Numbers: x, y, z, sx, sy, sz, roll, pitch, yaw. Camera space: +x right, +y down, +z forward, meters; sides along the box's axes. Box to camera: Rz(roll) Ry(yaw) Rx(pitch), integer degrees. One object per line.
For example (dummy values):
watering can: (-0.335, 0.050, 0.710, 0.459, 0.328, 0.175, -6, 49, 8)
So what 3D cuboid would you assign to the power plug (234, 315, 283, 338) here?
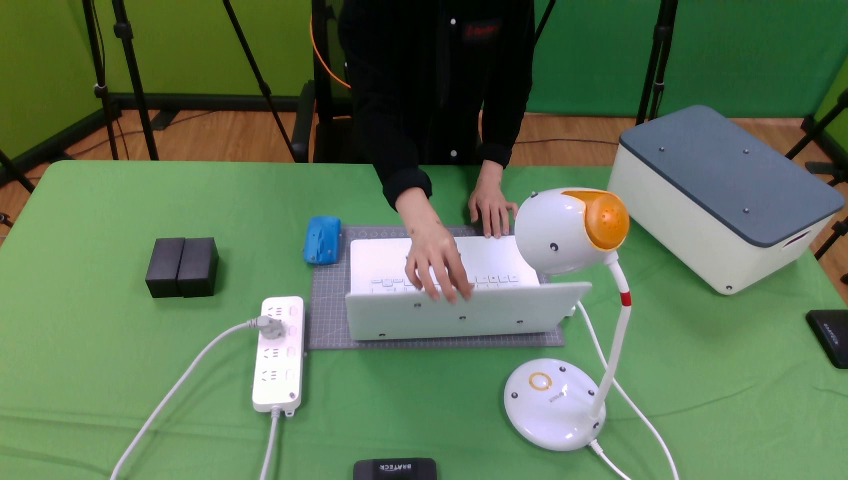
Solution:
power plug: (-0.269, 0.143, 1.000, 0.072, 0.053, 0.035, 4, 47, 3)

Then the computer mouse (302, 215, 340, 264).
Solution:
computer mouse: (-0.198, -0.005, 1.172, 0.063, 0.041, 0.116, 4, 50, -3)

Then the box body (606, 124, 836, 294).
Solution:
box body: (0.584, -0.088, 1.230, 0.254, 0.161, 0.361, -22, 52, -23)

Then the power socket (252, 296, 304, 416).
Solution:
power socket: (-0.238, 0.181, 0.997, 0.072, 0.033, 0.225, -3, 47, -5)

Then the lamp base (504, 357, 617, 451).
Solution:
lamp base: (0.220, 0.211, 0.903, 0.160, 0.181, 0.178, -33, 59, -30)

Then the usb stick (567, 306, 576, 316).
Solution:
usb stick: (0.239, 0.121, 1.083, 0.059, 0.027, 0.021, -1, 51, -2)

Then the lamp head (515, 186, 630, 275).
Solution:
lamp head: (0.188, -0.013, 0.728, 0.112, 0.112, 0.122, -25, 9, -25)

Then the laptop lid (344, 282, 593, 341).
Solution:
laptop lid: (0.059, 0.115, 0.937, 0.357, 0.242, 0.013, -1, 65, -7)

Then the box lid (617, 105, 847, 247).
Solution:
box lid: (0.587, -0.138, 1.175, 0.263, 0.015, 0.369, -22, 50, -22)

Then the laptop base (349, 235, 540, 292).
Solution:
laptop base: (0.039, 0.081, 1.124, 0.355, 0.023, 0.234, -2, 43, -6)
